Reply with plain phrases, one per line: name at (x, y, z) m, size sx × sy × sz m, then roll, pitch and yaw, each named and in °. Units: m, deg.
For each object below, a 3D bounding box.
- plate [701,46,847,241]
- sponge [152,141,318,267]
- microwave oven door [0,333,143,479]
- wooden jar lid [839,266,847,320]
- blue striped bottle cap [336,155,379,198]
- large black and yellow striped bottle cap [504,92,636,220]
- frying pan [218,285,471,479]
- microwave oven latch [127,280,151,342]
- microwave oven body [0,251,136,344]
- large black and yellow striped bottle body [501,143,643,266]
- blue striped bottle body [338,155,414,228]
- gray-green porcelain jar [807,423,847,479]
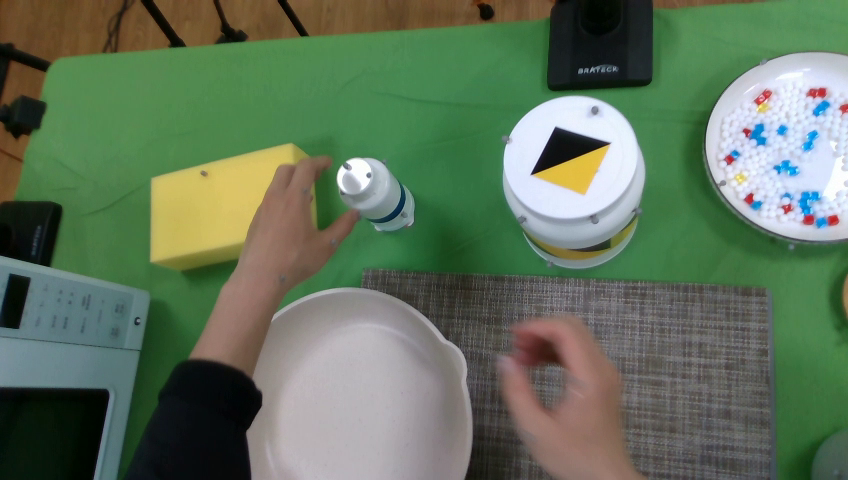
plate at (0.398, -0.098, 0.628) m, size 0.208 × 0.038 × 0.208 m, roll -4°, pitch 76°, yaw 16°
sponge at (-0.248, -0.043, 0.791) m, size 0.206 × 0.061 × 0.117 m, roll -12°, pitch 75°, yaw 13°
microwave oven door at (-0.434, 0.282, 0.653) m, size 0.039 × 0.245 × 0.354 m, roll 2°, pitch 78°, yaw 18°
wooden jar lid at (0.460, 0.056, 0.583) m, size 0.108 × 0.021 × 0.108 m, roll -4°, pitch 78°, yaw 16°
blue striped bottle cap at (-0.073, -0.069, 0.659) m, size 0.044 × 0.021 × 0.044 m, roll -5°, pitch 73°, yaw 17°
large black and yellow striped bottle cap at (0.127, -0.074, 0.533) m, size 0.114 × 0.019 × 0.114 m, roll -3°, pitch 78°, yaw 16°
frying pan at (-0.047, 0.282, 0.630) m, size 0.307 × 0.104 × 0.483 m, roll -29°, pitch 63°, yaw 9°
microwave oven latch at (-0.380, 0.092, 0.790) m, size 0.030 × 0.030 × 0.079 m, roll 3°, pitch 79°, yaw 17°
microwave oven body at (-0.567, 0.237, 0.708) m, size 0.325 × 0.262 × 0.440 m, roll 2°, pitch 78°, yaw 16°
large black and yellow striped bottle body at (0.150, -0.054, 0.612) m, size 0.130 × 0.185 × 0.130 m, roll -4°, pitch 76°, yaw 16°
blue striped bottle body at (-0.058, -0.058, 0.707) m, size 0.063 × 0.121 × 0.063 m, roll -4°, pitch 76°, yaw 16°
gray-green porcelain jar at (0.395, 0.208, 0.510) m, size 0.105 × 0.127 × 0.105 m, roll -4°, pitch 76°, yaw 16°
